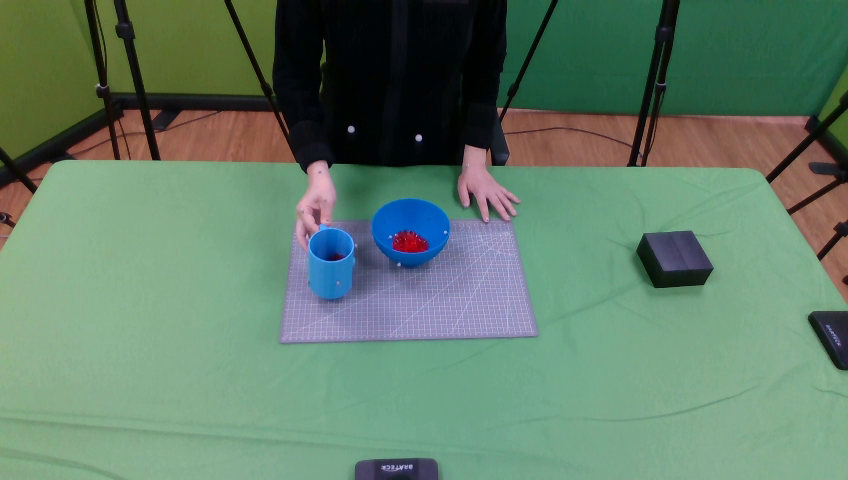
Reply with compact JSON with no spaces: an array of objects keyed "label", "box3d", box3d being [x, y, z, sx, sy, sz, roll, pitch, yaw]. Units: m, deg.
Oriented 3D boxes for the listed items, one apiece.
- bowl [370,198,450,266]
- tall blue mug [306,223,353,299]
[{"label":"bowl","box3d":[-0.028,-0.003,1.156,0.151,0.077,0.150,2,46,-2]},{"label":"tall blue mug","box3d":[-0.175,0.032,1.055,0.107,0.108,0.078,40,56,21]}]
